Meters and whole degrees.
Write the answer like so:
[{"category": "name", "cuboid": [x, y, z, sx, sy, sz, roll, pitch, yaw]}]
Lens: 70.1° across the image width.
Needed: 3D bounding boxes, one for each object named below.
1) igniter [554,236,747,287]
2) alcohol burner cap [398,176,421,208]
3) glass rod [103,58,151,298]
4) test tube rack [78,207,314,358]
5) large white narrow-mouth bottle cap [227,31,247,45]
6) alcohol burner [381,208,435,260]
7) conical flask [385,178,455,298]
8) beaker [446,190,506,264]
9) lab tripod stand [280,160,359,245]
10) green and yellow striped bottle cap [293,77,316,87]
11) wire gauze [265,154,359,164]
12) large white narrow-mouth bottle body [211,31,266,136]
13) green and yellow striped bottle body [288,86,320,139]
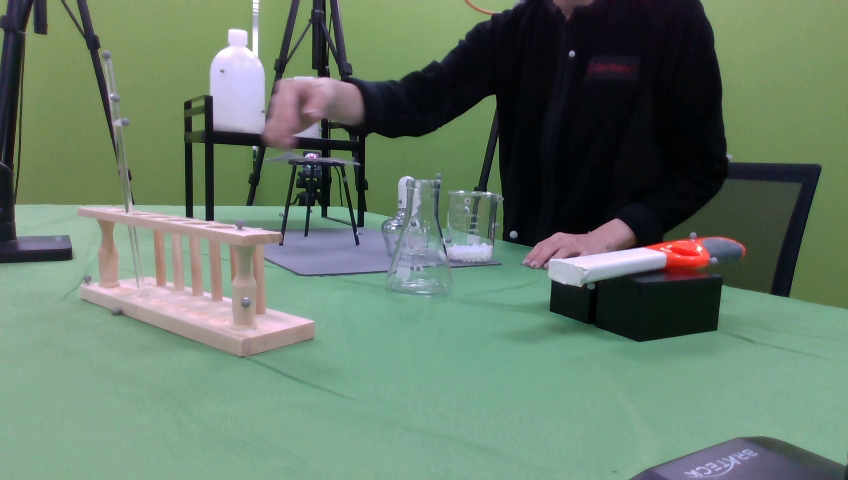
[{"category": "igniter", "cuboid": [0.221, 0.017, 0.558, 0.278, 0.025, 0.057, -5, 15, -39]}, {"category": "alcohol burner cap", "cuboid": [-0.023, -0.068, 0.866, 0.034, 0.048, 0.034, -5, 8, 1]}, {"category": "glass rod", "cuboid": [-0.242, -0.045, 0.495, 0.008, 0.199, 0.008, -2, 15, 1]}, {"category": "test tube rack", "cuboid": [-0.196, 0.024, 0.499, 0.241, 0.085, 0.067, 8, 8, 37]}, {"category": "large white narrow-mouth bottle cap", "cuboid": [-0.360, -0.388, 1.166, 0.038, 0.024, 0.037, 1, 7, 0]}, {"category": "alcohol burner", "cuboid": [-0.023, -0.032, 0.871, 0.078, 0.119, 0.078, 0, 6, 0]}, {"category": "conical flask", "cuboid": [-0.002, -0.004, 0.639, 0.075, 0.122, 0.075, 2, 7, 0]}, {"category": "beaker", "cuboid": [0.071, -0.019, 0.855, 0.084, 0.100, 0.074, 3, 8, -1]}, {"category": "lab tripod stand", "cuboid": [-0.176, -0.062, 0.973, 0.148, 0.131, 0.148, 1, 7, 0]}, {"category": "green and yellow striped bottle cap", "cuboid": [-0.247, -0.326, 1.251, 0.045, 0.020, 0.045, 0, 10, 0]}, {"category": "wire gauze", "cuboid": [-0.181, -0.129, 0.969, 0.126, 0.011, 0.121, -1, 7, -27]}, {"category": "large white narrow-mouth bottle body", "cuboid": [-0.360, -0.303, 1.175, 0.102, 0.194, 0.102, 1, 7, 0]}, {"category": "green and yellow striped bottle body", "cuboid": [-0.249, -0.272, 1.259, 0.063, 0.119, 0.063, 2, 8, 0]}]
